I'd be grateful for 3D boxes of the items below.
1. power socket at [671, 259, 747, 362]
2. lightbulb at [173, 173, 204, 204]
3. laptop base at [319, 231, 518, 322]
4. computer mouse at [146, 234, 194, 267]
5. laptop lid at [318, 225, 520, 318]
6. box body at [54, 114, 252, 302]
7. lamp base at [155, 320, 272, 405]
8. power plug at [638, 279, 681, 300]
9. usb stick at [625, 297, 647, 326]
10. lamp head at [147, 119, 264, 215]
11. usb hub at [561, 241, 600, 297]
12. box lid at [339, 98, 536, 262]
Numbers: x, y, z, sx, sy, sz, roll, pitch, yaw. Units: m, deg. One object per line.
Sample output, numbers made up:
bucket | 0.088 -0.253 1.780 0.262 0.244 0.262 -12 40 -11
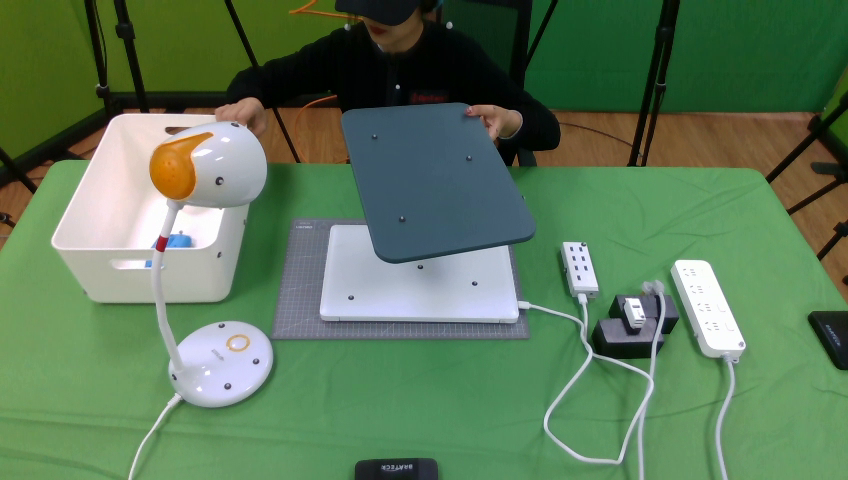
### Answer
power socket | 0.516 0.119 1.108 0.072 0.033 0.225 1 46 -2
lightbulb | -0.486 -0.112 1.243 0.059 0.060 0.107 -18 30 -20
laptop base | -0.010 0.062 1.137 0.354 0.023 0.234 1 42 -3
computer mouse | -0.468 0.028 1.116 0.063 0.041 0.116 -2 42 -2
laptop lid | -0.009 0.053 1.131 0.357 0.013 0.240 2 43 -2
box body | -0.468 -0.063 1.126 0.254 0.161 0.361 0 46 -4
lamp base | -0.330 0.149 0.918 0.160 0.181 0.179 26 52 20
power plug | 0.434 0.099 1.118 0.073 0.053 0.035 34 37 -15
usb stick | 0.360 0.116 1.034 0.021 0.027 0.059 -2 44 -2
lamp head | -0.276 -0.087 0.740 0.112 0.112 0.123 20 23 15
usb hub | 0.300 0.055 1.161 0.049 0.025 0.124 2 46 -3
box lid | 0.012 -0.117 1.026 0.264 0.015 0.369 -9 50 -12
